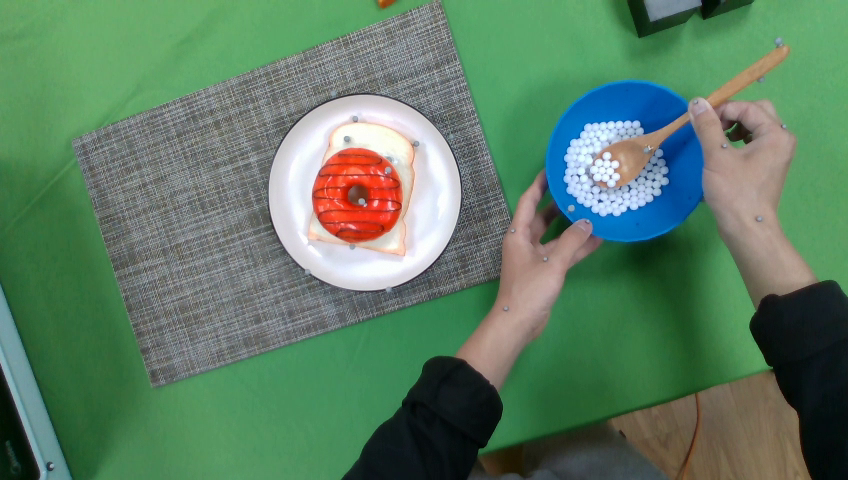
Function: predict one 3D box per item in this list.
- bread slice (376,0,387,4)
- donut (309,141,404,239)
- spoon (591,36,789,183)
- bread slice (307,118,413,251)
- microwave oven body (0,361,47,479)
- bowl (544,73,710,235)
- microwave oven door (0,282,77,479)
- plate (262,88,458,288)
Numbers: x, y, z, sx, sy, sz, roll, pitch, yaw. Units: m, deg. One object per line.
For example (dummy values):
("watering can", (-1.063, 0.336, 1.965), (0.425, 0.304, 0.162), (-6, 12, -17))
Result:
("bread slice", (-0.040, -0.334, 0.642), (0.105, 0.019, 0.131), (-33, 90, 6))
("donut", (-0.069, -0.051, 0.617), (0.099, 0.048, 0.099), (0, 93, 7))
("spoon", (0.233, -0.113, 0.547), (0.194, 0.021, 0.041), (-37, 83, 38))
("bread slice", (-0.066, -0.061, 0.644), (0.107, 0.018, 0.134), (7, 94, 5))
("microwave oven body", (-0.638, 0.147, 0.607), (0.326, 0.260, 0.441), (-20, 91, 6))
("bowl", (0.191, -0.080, 0.597), (0.151, 0.077, 0.151), (0, 92, 7))
("microwave oven door", (-0.488, 0.136, 0.585), (0.039, 0.244, 0.355), (-21, 90, 7))
("plate", (-0.066, -0.053, 0.644), (0.207, 0.039, 0.207), (0, 93, 6))
